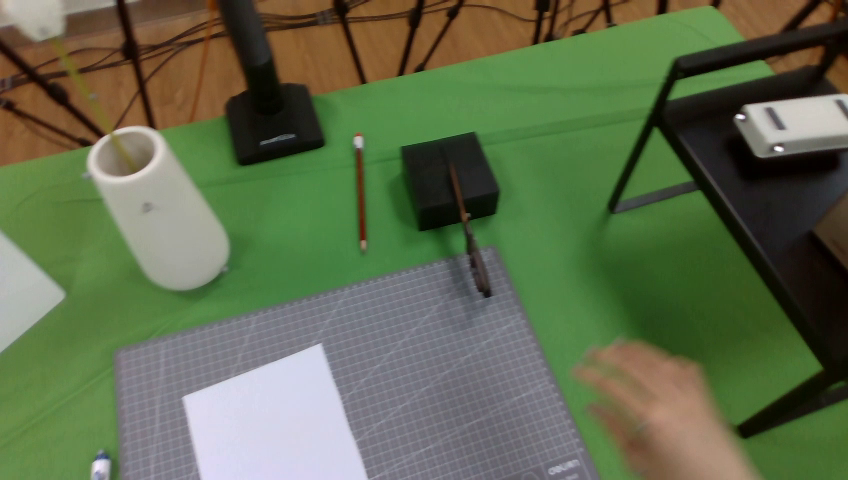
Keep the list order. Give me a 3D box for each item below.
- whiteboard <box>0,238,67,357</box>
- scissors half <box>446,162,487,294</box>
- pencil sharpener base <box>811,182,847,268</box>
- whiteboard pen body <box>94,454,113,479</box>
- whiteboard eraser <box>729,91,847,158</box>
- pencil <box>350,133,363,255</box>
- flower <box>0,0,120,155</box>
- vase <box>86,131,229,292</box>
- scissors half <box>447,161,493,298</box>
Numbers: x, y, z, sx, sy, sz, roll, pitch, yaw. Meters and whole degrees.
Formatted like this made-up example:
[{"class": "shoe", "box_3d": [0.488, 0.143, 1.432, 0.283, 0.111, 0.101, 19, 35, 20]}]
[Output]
[{"class": "whiteboard", "box_3d": [-0.569, 0.018, 0.592, 0.142, 0.309, 0.216, 23, 59, 35]}, {"class": "scissors half", "box_3d": [0.045, -0.020, 0.699, 0.013, 0.040, 0.173, -18, 61, 10]}, {"class": "pencil sharpener base", "box_3d": [0.394, -0.031, 0.503, 0.077, 0.108, 0.061, -20, 59, -13]}, {"class": "whiteboard pen body", "box_3d": [-0.306, 0.272, 0.568, 0.017, 0.017, 0.139, -10, 57, -6]}, {"class": "whiteboard eraser", "box_3d": [0.363, -0.111, 0.591, 0.113, 0.042, 0.055, -8, 60, -6]}, {"class": "pencil", "box_3d": [-0.087, -0.064, 0.787, 0.012, 0.012, 0.192, -5, 59, -3]}, {"class": "flower", "box_3d": [-0.292, -0.079, 0.584, 0.044, 0.365, 0.038, -22, 43, -10]}, {"class": "vase", "box_3d": [-0.281, -0.025, 0.649, 0.098, 0.201, 0.097, 0, 57, 1]}, {"class": "scissors half", "box_3d": [0.052, -0.015, 0.718, 0.013, 0.040, 0.174, -19, 78, 15]}]
